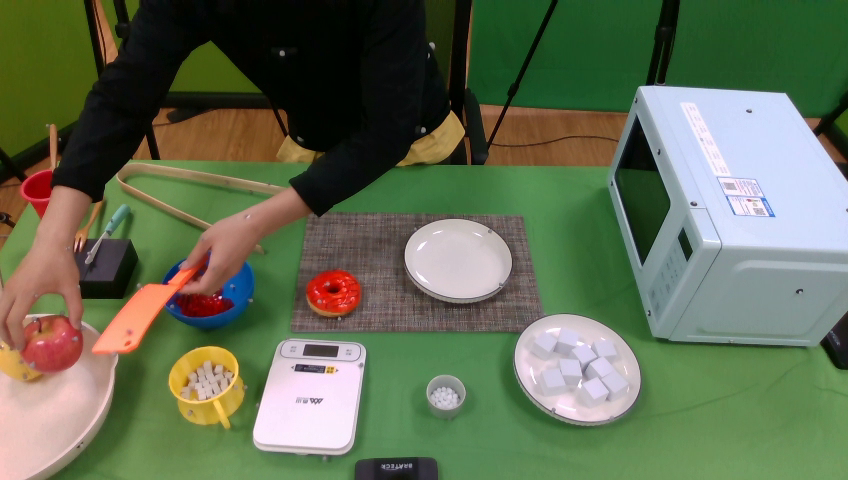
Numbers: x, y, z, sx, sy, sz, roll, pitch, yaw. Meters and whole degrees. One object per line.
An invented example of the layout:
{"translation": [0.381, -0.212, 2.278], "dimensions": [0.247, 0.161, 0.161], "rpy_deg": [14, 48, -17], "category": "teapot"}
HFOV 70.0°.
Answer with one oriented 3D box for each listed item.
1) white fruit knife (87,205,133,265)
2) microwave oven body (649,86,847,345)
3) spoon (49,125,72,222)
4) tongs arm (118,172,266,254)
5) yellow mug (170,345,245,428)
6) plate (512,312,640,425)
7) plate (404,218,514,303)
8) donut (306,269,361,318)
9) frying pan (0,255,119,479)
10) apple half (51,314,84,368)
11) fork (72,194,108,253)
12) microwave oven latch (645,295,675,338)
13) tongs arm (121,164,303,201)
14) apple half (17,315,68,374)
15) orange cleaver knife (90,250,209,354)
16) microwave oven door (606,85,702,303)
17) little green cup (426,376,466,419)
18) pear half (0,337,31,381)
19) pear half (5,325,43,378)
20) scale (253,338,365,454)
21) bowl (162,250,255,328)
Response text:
{"translation": [-0.584, -0.013, 1.129], "dimensions": [0.016, 0.027, 0.206], "rpy_deg": [0, 31, -5], "category": "white fruit knife"}
{"translation": [0.567, -0.053, 1.118], "dimensions": [0.326, 0.261, 0.439], "rpy_deg": [2, 45, -1], "category": "microwave oven body"}
{"translation": [-0.718, -0.131, 1.189], "dimensions": [0.041, 0.021, 0.193], "rpy_deg": [-4, 90, -7], "category": "spoon"}
{"translation": [-0.472, -0.054, 1.212], "dimensions": [0.386, 0.028, 0.028], "rpy_deg": [23, 57, 17], "category": "tongs arm"}
{"translation": [-0.322, 0.230, 0.922], "dimensions": [0.100, 0.064, 0.130], "rpy_deg": [-24, 53, -25], "category": "yellow mug"}
{"translation": [0.246, 0.213, 0.999], "dimensions": [0.208, 0.039, 0.206], "rpy_deg": [2, 46, -2], "category": "plate"}
{"translation": [0.064, 0.042, 1.146], "dimensions": [0.209, 0.038, 0.208], "rpy_deg": [2, 46, -2], "category": "plate"}
{"translation": [-0.160, 0.094, 1.075], "dimensions": [0.099, 0.048, 0.098], "rpy_deg": [4, 45, -4], "category": "donut"}
{"translation": [-0.647, 0.164, 0.936], "dimensions": [0.307, 0.103, 0.485], "rpy_deg": [-18, 58, -22], "category": "frying pan"}
{"translation": [-0.510, 0.144, 0.877], "dimensions": [0.033, 0.081, 0.080], "rpy_deg": [-14, 49, -18], "category": "apple half"}
{"translation": [-0.634, -0.036, 1.158], "dimensions": [0.028, 0.019, 0.206], "rpy_deg": [-8, 32, -8], "category": "fork"}
{"translation": [0.411, 0.134, 1.061], "dimensions": [0.030, 0.029, 0.078], "rpy_deg": [3, 45, 0], "category": "microwave oven latch"}
{"translation": [-0.443, -0.114, 1.266], "dimensions": [0.384, 0.026, 0.050], "rpy_deg": [12, 51, 8], "category": "tongs arm"}
{"translation": [-0.545, 0.153, 0.864], "dimensions": [0.053, 0.075, 0.080], "rpy_deg": [-15, 47, -18], "category": "apple half"}
{"translation": [-0.398, 0.087, 0.888], "dimensions": [0.077, 0.012, 0.210], "rpy_deg": [7, 44, 22], "category": "orange cleaver knife"}
{"translation": [0.422, -0.094, 1.140], "dimensions": [0.039, 0.245, 0.353], "rpy_deg": [2, 46, -1], "category": "microwave oven door"}
{"translation": [0.033, 0.248, 0.950], "dimensions": [0.061, 0.039, 0.061], "rpy_deg": [2, 46, -2], "category": "little green cup"}
{"translation": [-0.631, 0.185, 0.921], "dimensions": [0.070, 0.088, 0.031], "rpy_deg": [31, 48, 21], "category": "pear half"}
{"translation": [-0.608, 0.158, 0.934], "dimensions": [0.076, 0.110, 0.056], "rpy_deg": [31, 50, 20], "category": "pear half"}
{"translation": [-0.175, 0.236, 0.951], "dimensions": [0.149, 0.032, 0.199], "rpy_deg": [4, 45, -1], "category": "scale"}
{"translation": [-0.362, 0.098, 1.040], "dimensions": [0.151, 0.077, 0.150], "rpy_deg": [2, 45, -2], "category": "bowl"}
